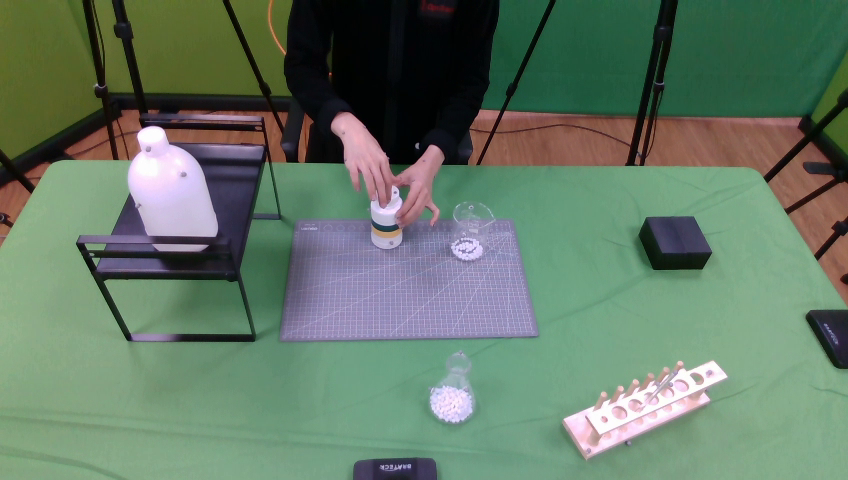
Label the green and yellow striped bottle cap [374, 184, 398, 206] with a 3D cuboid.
[{"bbox_3d":[-0.070,-0.084,1.121,0.045,0.020,0.045,3,45,-3],"label":"green and yellow striped bottle cap"}]

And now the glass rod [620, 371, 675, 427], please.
[{"bbox_3d":[0.316,0.230,0.863,0.008,0.200,0.008,3,54,-3],"label":"glass rod"}]

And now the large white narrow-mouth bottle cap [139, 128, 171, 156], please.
[{"bbox_3d":[-0.359,-0.131,0.808,0.038,0.024,0.037,3,47,-3],"label":"large white narrow-mouth bottle cap"}]

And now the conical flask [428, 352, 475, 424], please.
[{"bbox_3d":[0.046,0.220,0.920,0.075,0.122,0.075,2,46,-2],"label":"conical flask"}]

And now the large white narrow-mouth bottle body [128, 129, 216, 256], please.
[{"bbox_3d":[-0.366,-0.073,0.872,0.102,0.195,0.101,3,47,-3],"label":"large white narrow-mouth bottle body"}]

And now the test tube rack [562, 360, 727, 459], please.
[{"bbox_3d":[0.341,0.247,0.940,0.243,0.085,0.066,-16,49,-18],"label":"test tube rack"}]

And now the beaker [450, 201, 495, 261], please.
[{"bbox_3d":[0.089,-0.014,1.161,0.084,0.101,0.073,9,47,4],"label":"beaker"}]

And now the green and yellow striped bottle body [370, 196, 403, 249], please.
[{"bbox_3d":[-0.073,-0.045,1.163,0.063,0.120,0.063,2,46,-2],"label":"green and yellow striped bottle body"}]
